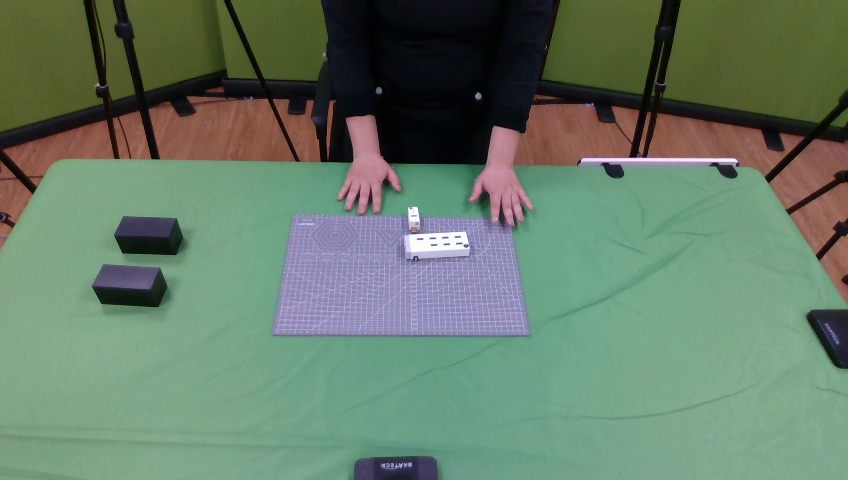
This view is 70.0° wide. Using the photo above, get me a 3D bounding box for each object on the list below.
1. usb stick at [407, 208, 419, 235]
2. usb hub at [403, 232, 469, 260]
[{"bbox_3d":[-0.023,-0.037,1.225,0.021,0.027,0.059,0,49,-8],"label":"usb stick"},{"bbox_3d":[0.023,0.012,1.182,0.125,0.025,0.049,-3,46,-7],"label":"usb hub"}]
